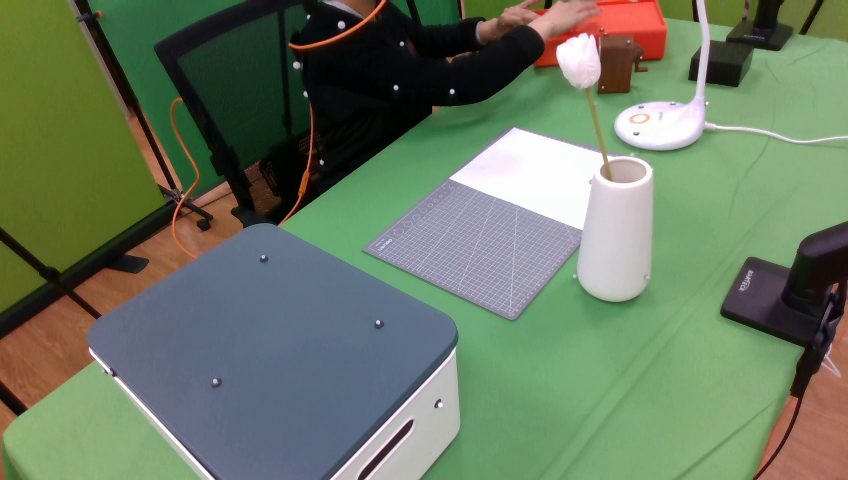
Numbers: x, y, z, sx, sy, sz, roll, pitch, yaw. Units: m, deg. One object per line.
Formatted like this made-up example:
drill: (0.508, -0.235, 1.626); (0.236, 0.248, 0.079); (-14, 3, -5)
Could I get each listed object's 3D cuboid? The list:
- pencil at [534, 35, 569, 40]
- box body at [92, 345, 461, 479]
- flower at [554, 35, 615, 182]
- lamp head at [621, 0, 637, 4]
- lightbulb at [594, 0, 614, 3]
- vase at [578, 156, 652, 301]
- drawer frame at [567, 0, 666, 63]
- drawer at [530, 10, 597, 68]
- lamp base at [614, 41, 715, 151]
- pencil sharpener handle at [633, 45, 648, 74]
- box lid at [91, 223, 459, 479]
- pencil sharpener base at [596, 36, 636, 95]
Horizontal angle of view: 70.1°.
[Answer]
pencil: (0.335, -0.492, 1.465); (0.012, 0.012, 0.192); (-29, 29, -22)
box body: (-0.162, 0.170, 0.708); (0.361, 0.161, 0.255); (25, 50, 34)
flower: (0.237, -0.083, 0.774); (0.044, 0.363, 0.038); (-22, 26, 6)
lamp head: (0.319, -0.453, 0.962); (0.113, 0.123, 0.112); (20, 33, -13)
lightbulb: (0.305, -0.437, 0.976); (0.060, 0.107, 0.059); (12, 45, -11)
vase: (0.261, -0.011, 0.812); (0.098, 0.201, 0.097); (-5, 40, 4)
drawer frame: (0.448, -0.497, 1.443); (0.213, 0.083, 0.201); (0, 40, 10)
drawer: (0.363, -0.493, 1.459); (0.211, 0.073, 0.194); (0, 40, 9)
lamp base: (0.449, -0.277, 1.106); (0.179, 0.181, 0.160); (1, 41, 9)
pencil sharpener handle: (0.454, -0.378, 1.262); (0.030, 0.068, 0.036); (2, 47, 13)
box lid: (-0.174, 0.103, 0.666); (0.368, 0.015, 0.264); (24, 49, 35)
pencil sharpener base: (0.405, -0.369, 1.280); (0.076, 0.107, 0.061); (2, 41, 13)
